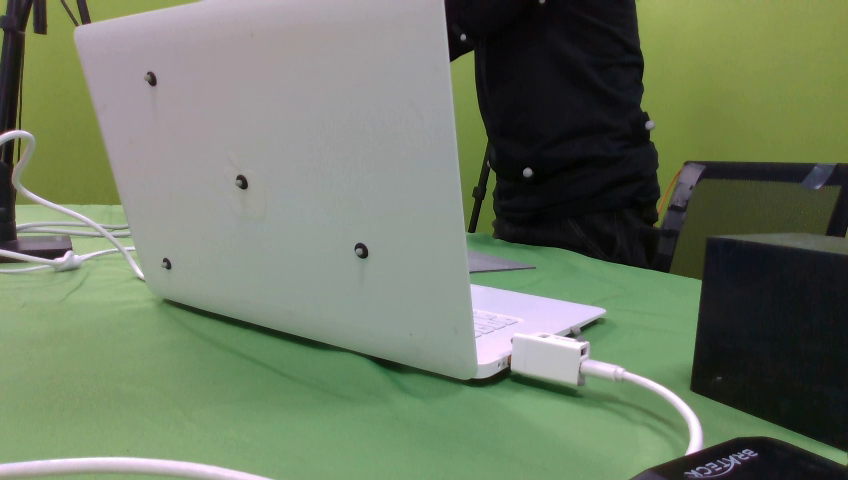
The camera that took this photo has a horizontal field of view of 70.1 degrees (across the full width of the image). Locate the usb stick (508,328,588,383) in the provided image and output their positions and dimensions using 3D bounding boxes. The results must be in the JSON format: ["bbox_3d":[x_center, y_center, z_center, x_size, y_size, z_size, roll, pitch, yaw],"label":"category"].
[{"bbox_3d":[0.072,0.072,0.383,0.059,0.027,0.021,2,3,34],"label":"usb stick"}]

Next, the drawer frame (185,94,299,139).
[{"bbox_3d":[-0.417,-0.277,1.377,0.203,0.082,0.212,-3,8,-33],"label":"drawer frame"}]

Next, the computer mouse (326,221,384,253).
[{"bbox_3d":[-0.103,-0.005,0.926,0.063,0.041,0.117,5,11,11],"label":"computer mouse"}]

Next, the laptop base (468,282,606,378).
[{"bbox_3d":[-0.042,0.058,0.554,0.352,0.023,0.237,7,7,35],"label":"laptop base"}]

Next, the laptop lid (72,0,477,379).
[{"bbox_3d":[-0.125,-0.042,0.418,0.355,0.241,0.013,9,25,34],"label":"laptop lid"}]

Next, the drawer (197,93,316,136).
[{"bbox_3d":[-0.364,-0.263,1.299,0.195,0.073,0.210,-3,9,-33],"label":"drawer"}]

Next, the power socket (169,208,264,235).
[{"bbox_3d":[-0.381,-0.038,1.129,0.072,0.032,0.227,4,8,16],"label":"power socket"}]

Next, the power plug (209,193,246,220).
[{"bbox_3d":[-0.389,-0.067,1.205,0.072,0.052,0.035,4,8,27],"label":"power plug"}]

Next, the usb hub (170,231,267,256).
[{"bbox_3d":[-0.291,0.004,0.863,0.049,0.025,0.126,10,11,42],"label":"usb hub"}]
